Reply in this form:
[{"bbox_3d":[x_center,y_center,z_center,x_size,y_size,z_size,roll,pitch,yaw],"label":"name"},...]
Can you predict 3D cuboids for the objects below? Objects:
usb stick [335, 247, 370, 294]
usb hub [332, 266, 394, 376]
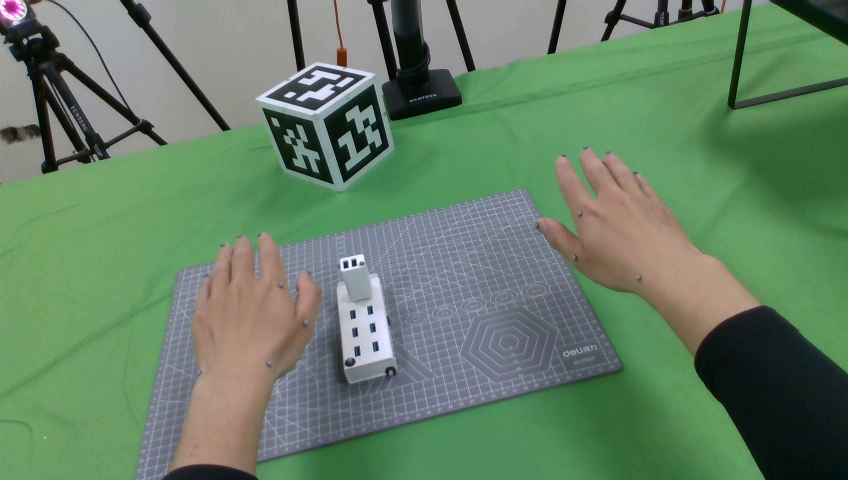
[{"bbox_3d":[-0.072,0.037,0.627,0.027,0.060,0.021,-17,42,-3],"label":"usb stick"},{"bbox_3d":[-0.065,0.079,0.622,0.049,0.025,0.123,-14,40,-2],"label":"usb hub"}]
